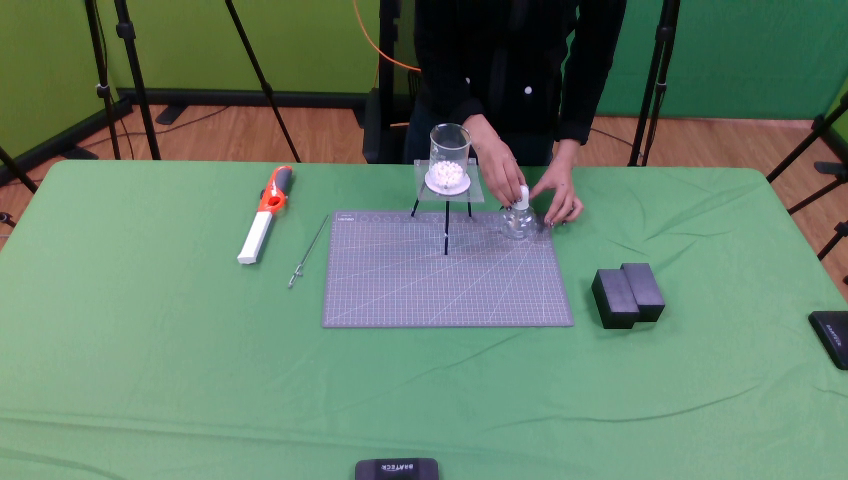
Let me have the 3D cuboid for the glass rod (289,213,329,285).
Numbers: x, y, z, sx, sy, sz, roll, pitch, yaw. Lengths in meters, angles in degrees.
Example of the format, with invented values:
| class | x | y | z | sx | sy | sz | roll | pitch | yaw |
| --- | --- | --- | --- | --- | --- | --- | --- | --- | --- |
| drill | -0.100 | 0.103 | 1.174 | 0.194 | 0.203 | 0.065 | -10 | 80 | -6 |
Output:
| class | x | y | z | sx | sy | sz | roll | pitch | yaw |
| --- | --- | --- | --- | --- | --- | --- | --- | --- | --- |
| glass rod | -0.221 | 0.014 | 1.179 | 0.008 | 0.008 | 0.199 | 12 | 46 | 8 |

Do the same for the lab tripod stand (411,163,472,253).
| class | x | y | z | sx | sy | sz | roll | pitch | yaw |
| --- | --- | --- | --- | --- | --- | --- | --- | --- | --- |
| lab tripod stand | 0.043 | -0.069 | 1.187 | 0.148 | 0.132 | 0.147 | 3 | 47 | -3 |

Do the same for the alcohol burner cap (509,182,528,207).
| class | x | y | z | sx | sy | sz | roll | pitch | yaw |
| --- | --- | --- | --- | --- | --- | --- | --- | --- | --- |
| alcohol burner cap | 0.186 | -0.091 | 1.180 | 0.034 | 0.048 | 0.033 | 4 | 46 | -4 |

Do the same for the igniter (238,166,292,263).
| class | x | y | z | sx | sy | sz | roll | pitch | yaw |
| --- | --- | --- | --- | --- | --- | --- | --- | --- | --- |
| igniter | -0.319 | -0.060 | 1.229 | 0.057 | 0.025 | 0.275 | -2 | 45 | 10 |

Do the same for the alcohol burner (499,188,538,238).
| class | x | y | z | sx | sy | sz | roll | pitch | yaw |
| --- | --- | --- | --- | --- | --- | --- | --- | --- | --- |
| alcohol burner | 0.189 | -0.060 | 1.202 | 0.078 | 0.120 | 0.077 | 1 | 49 | -1 |

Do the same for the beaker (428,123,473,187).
| class | x | y | z | sx | sy | sz | roll | pitch | yaw |
| --- | --- | --- | --- | --- | --- | --- | --- | --- | --- |
| beaker | 0.044 | -0.154 | 1.109 | 0.074 | 0.101 | 0.083 | -25 | 54 | -25 |

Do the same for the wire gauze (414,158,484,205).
| class | x | y | z | sx | sy | sz | roll | pitch | yaw |
| --- | --- | --- | --- | --- | --- | --- | --- | --- | --- |
| wire gauze | 0.045 | -0.113 | 1.137 | 0.125 | 0.011 | 0.120 | 1 | 48 | -6 |
